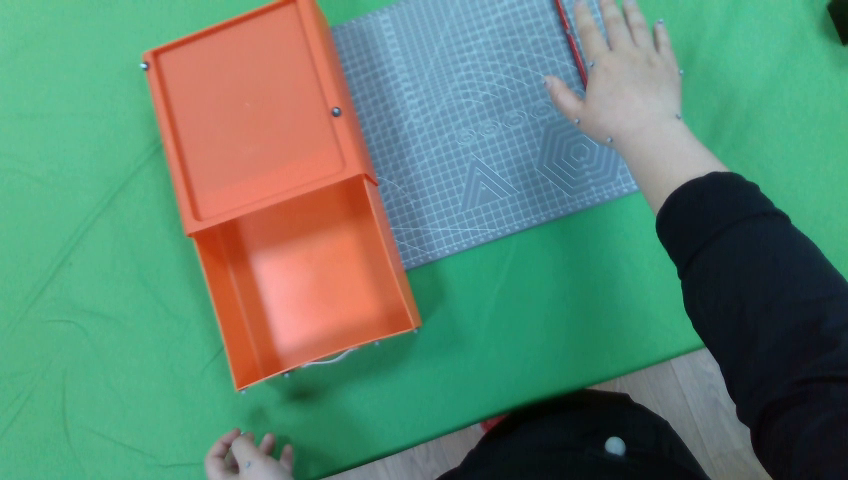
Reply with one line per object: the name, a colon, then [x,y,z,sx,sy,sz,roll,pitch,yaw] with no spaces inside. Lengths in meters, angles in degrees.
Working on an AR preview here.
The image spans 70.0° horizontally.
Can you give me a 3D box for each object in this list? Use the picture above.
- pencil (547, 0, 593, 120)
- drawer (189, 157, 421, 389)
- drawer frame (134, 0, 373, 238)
pencil: [0.153,-0.222,0.662,0.012,0.012,0.193,-18,85,6]
drawer: [-0.130,0.026,0.643,0.194,0.073,0.211,-20,84,7]
drawer frame: [-0.184,-0.128,0.661,0.201,0.083,0.212,-20,81,6]
